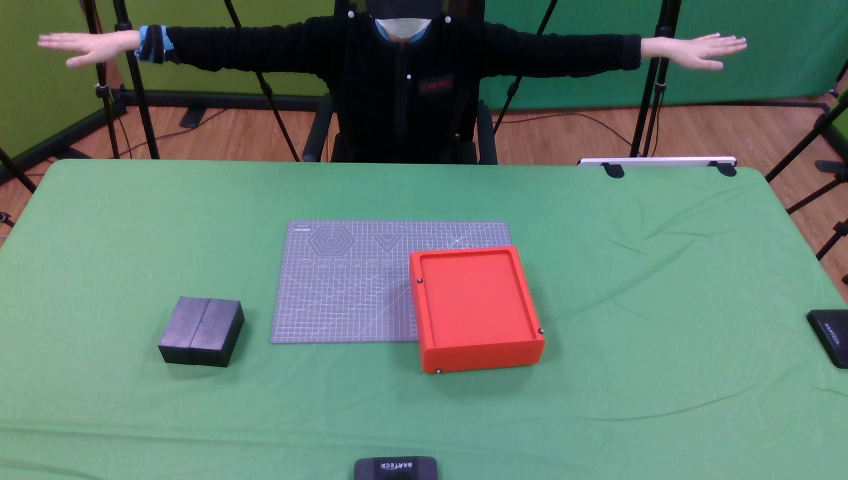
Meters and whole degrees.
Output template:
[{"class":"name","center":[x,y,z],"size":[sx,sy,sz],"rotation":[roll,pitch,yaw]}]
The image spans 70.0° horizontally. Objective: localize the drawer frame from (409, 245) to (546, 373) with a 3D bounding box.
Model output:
[{"class":"drawer frame","center":[0.084,0.113,1.049],"size":[0.202,0.083,0.212],"rotation":[-4,47,-8]}]

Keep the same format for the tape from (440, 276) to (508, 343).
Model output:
[{"class":"tape","center":[0.086,0.120,1.053],"size":[0.117,0.053,0.116],"rotation":[2,46,-2]}]

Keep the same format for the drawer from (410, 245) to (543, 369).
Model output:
[{"class":"drawer","center":[0.083,0.111,1.051],"size":[0.195,0.073,0.210],"rotation":[-3,47,-8]}]
